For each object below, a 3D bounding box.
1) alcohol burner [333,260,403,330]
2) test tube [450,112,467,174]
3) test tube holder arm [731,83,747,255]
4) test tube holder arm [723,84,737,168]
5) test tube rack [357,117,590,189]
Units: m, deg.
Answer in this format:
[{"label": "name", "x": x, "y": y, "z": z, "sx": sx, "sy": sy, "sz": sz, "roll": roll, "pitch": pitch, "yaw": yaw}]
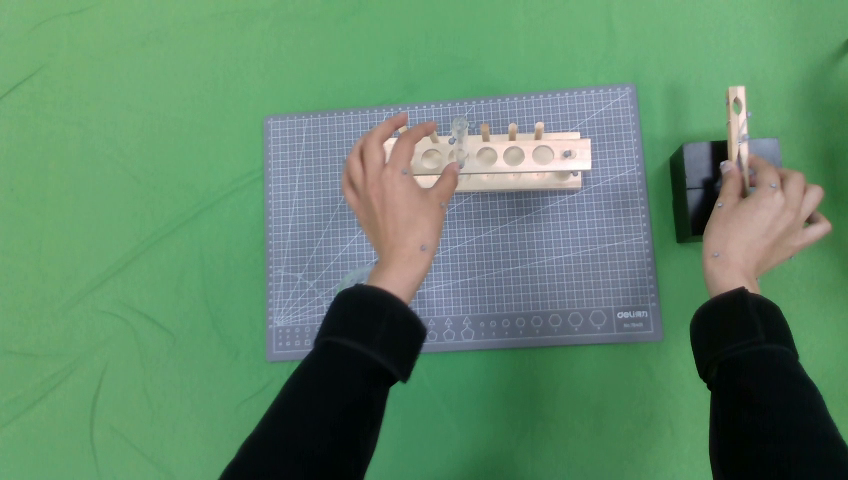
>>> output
[{"label": "alcohol burner", "x": -0.063, "y": 0.057, "z": 0.649, "sx": 0.078, "sy": 0.119, "sz": 0.077, "roll": -1, "pitch": 80, "yaw": 4}, {"label": "test tube", "x": 0.036, "y": -0.096, "z": 0.625, "sx": 0.017, "sy": 0.151, "sz": 0.017, "roll": -1, "pitch": 79, "yaw": 4}, {"label": "test tube holder arm", "x": 0.322, "y": -0.073, "z": 0.620, "sx": 0.013, "sy": 0.015, "sz": 0.178, "roll": -2, "pitch": 82, "yaw": 15}, {"label": "test tube holder arm", "x": 0.317, "y": -0.118, "z": 0.627, "sx": 0.010, "sy": 0.015, "sz": 0.087, "roll": 0, "pitch": 83, "yaw": 15}, {"label": "test tube rack", "x": 0.054, "y": -0.101, "z": 0.675, "sx": 0.242, "sy": 0.085, "sz": 0.066, "roll": -1, "pitch": 82, "yaw": 5}]
